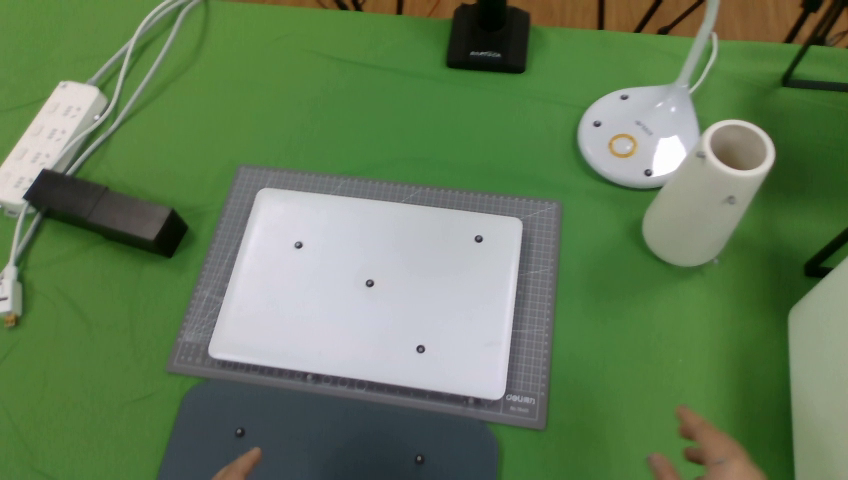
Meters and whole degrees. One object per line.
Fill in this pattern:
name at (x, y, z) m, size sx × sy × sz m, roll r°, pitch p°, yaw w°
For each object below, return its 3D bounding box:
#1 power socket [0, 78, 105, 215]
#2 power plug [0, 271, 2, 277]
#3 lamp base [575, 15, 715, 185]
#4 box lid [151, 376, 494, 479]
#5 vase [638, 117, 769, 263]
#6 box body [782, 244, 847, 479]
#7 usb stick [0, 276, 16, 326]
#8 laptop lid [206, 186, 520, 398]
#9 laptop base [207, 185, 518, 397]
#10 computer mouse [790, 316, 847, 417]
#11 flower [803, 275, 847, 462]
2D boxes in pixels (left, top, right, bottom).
power socket at (-0.535, -0.138, 0.858) m, size 0.072 × 0.033 × 0.225 m, roll 15°, pitch 65°, yaw 9°
power plug at (-0.576, 0.070, 0.767) m, size 0.052 × 0.035 × 0.072 m, roll 1°, pitch 24°, yaw 27°
lamp base at (0.292, -0.187, 0.763) m, size 0.159 × 0.181 × 0.179 m, roll 39°, pitch 69°, yaw 19°
box lid at (-0.121, 0.295, 0.644) m, size 0.371 × 0.015 × 0.261 m, roll 7°, pitch 65°, yaw 6°
vase at (0.310, -0.052, 0.686) m, size 0.098 × 0.201 × 0.097 m, roll -2°, pitch 62°, yaw 4°
box body at (0.503, 0.206, 0.572) m, size 0.254 × 0.161 × 0.361 m, roll 9°, pitch 65°, yaw 7°
usb stick at (-0.525, 0.077, 0.755) m, size 0.021 × 0.027 × 0.059 m, roll -10°, pitch 71°, yaw -11°
laptop lid at (-0.070, 0.053, 0.740) m, size 0.356 × 0.013 × 0.240 m, roll 8°, pitch 67°, yaw 7°
laptop base at (-0.069, 0.055, 0.751) m, size 0.354 × 0.023 × 0.234 m, roll 7°, pitch 68°, yaw 6°
computer mouse at (0.449, 0.136, 0.669) m, size 0.062 × 0.041 × 0.116 m, roll 6°, pitch 56°, yaw 8°
flower at (0.437, 0.213, 0.621) m, size 0.044 × 0.038 × 0.359 m, roll 14°, pitch 69°, yaw -39°
